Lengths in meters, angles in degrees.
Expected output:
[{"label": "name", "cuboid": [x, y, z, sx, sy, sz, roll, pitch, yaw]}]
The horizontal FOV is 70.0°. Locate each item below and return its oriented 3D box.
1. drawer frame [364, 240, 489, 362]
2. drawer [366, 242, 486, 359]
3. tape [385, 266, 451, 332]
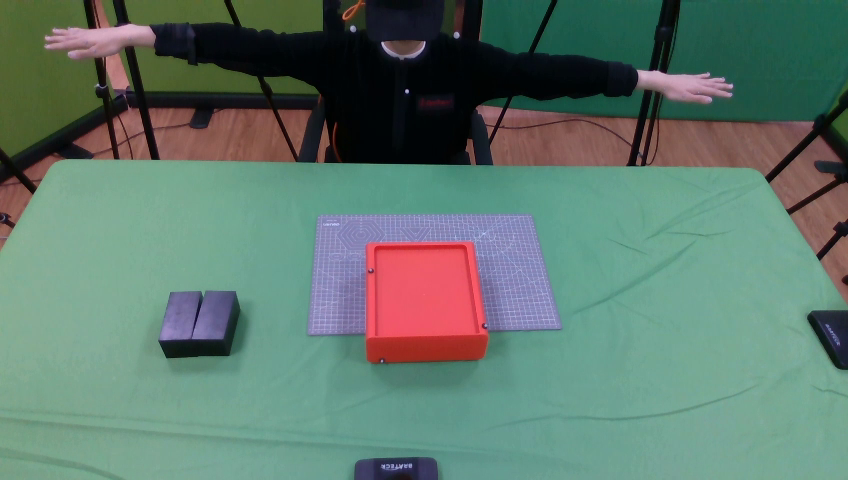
[{"label": "drawer frame", "cuboid": [-0.002, 0.101, 1.054, 0.202, 0.083, 0.212, -1, 47, -5]}, {"label": "drawer", "cuboid": [-0.002, 0.101, 1.056, 0.195, 0.073, 0.210, 0, 47, -5]}, {"label": "tape", "cuboid": [-0.010, 0.103, 1.062, 0.117, 0.053, 0.116, 2, 46, -2]}]
